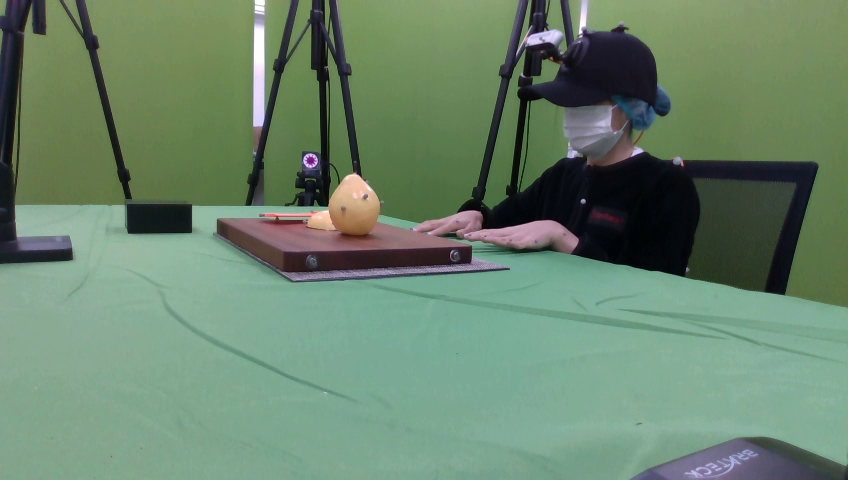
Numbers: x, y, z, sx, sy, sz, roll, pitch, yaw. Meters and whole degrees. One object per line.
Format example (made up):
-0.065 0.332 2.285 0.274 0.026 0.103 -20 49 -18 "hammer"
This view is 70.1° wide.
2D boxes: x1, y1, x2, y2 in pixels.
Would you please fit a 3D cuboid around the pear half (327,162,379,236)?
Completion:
-0.099 -0.060 0.889 0.077 0.110 0.055 -7 12 -35 "pear half"

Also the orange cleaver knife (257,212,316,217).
-0.208 -0.044 1.088 0.077 0.012 0.212 3 3 31 "orange cleaver knife"

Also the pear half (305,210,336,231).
-0.156 -0.032 0.976 0.071 0.031 0.087 -7 7 -23 "pear half"
